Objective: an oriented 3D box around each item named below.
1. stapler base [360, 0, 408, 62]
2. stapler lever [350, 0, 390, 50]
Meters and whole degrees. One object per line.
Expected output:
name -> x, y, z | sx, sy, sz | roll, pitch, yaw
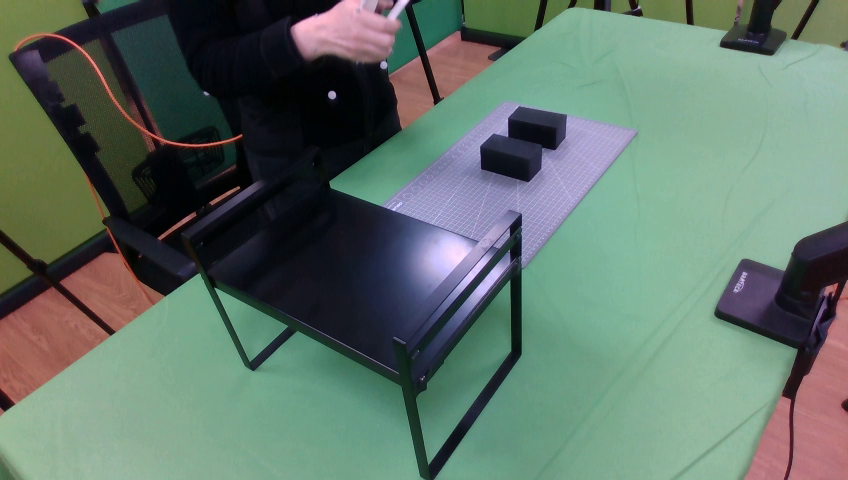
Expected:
stapler base -> -0.058, -0.316, 0.875 | 0.024, 0.130, 0.041 | 35, 46, -13
stapler lever -> -0.080, -0.329, 0.869 | 0.040, 0.117, 0.027 | 34, 46, -12
